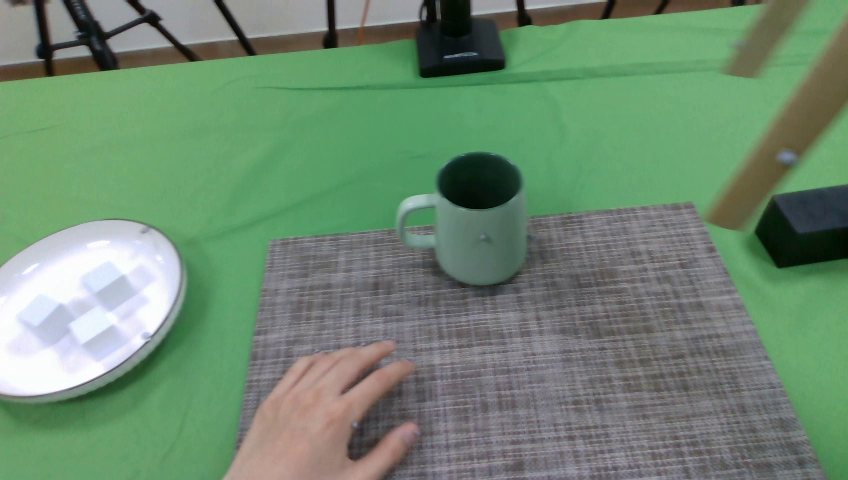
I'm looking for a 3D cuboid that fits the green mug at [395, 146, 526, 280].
[{"bbox_3d":[0.035,-0.021,0.570,0.125,0.106,0.091,-6,49,0],"label":"green mug"}]

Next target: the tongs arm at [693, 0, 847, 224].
[{"bbox_3d":[0.178,-0.127,0.199,0.027,0.391,0.028,19,56,10],"label":"tongs arm"}]

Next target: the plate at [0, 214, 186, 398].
[{"bbox_3d":[-0.330,0.061,0.582,0.209,0.038,0.207,-2,49,3],"label":"plate"}]

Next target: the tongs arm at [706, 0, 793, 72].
[{"bbox_3d":[0.197,-0.184,0.231,0.026,0.387,0.050,16,65,8],"label":"tongs arm"}]
